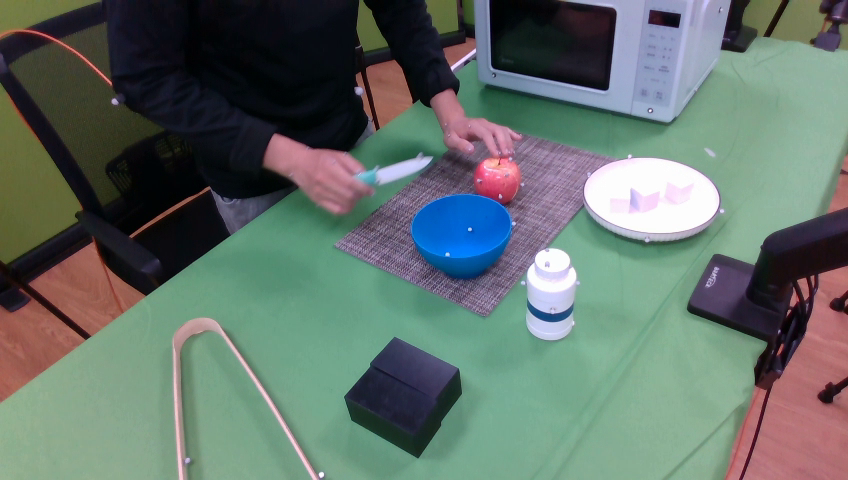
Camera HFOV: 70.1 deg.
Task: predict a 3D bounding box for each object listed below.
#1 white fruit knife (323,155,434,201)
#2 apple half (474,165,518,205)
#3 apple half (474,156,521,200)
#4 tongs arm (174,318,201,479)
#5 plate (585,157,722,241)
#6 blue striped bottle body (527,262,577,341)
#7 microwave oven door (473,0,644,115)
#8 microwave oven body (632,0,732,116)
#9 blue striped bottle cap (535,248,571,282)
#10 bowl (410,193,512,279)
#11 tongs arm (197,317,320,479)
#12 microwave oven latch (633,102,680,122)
[{"bbox_3d":[-0.070,-0.091,0.862,0.206,0.027,0.016,-14,36,33],"label":"white fruit knife"},{"bbox_3d":[0.115,-0.084,1.005,0.081,0.081,0.033,11,41,20],"label":"apple half"},{"bbox_3d":[0.130,-0.108,1.031,0.080,0.075,0.053,8,39,22],"label":"apple half"},{"bbox_3d":[-0.272,0.234,0.723,0.051,0.026,0.381,-19,40,-15],"label":"tongs arm"},{"bbox_3d":[0.367,-0.063,0.979,0.207,0.039,0.206,-4,40,4],"label":"plate"},{"bbox_3d":[0.165,0.070,0.786,0.063,0.121,0.063,-4,41,4],"label":"blue striped bottle body"},{"bbox_3d":[0.257,-0.396,1.199,0.353,0.245,0.039,21,48,29],"label":"microwave oven door"},{"bbox_3d":[0.377,-0.463,1.267,0.438,0.261,0.327,21,48,30],"label":"microwave oven body"},{"bbox_3d":[0.161,0.031,0.753,0.044,0.021,0.044,-4,42,4],"label":"blue striped bottle cap"},{"bbox_3d":[0.058,0.005,0.905,0.151,0.077,0.150,-4,40,4],"label":"bowl"},{"bbox_3d":[-0.199,0.207,0.750,0.028,0.028,0.384,-31,45,-22],"label":"tongs arm"},{"bbox_3d":[0.444,-0.249,1.157,0.078,0.029,0.030,21,49,30],"label":"microwave oven latch"}]
